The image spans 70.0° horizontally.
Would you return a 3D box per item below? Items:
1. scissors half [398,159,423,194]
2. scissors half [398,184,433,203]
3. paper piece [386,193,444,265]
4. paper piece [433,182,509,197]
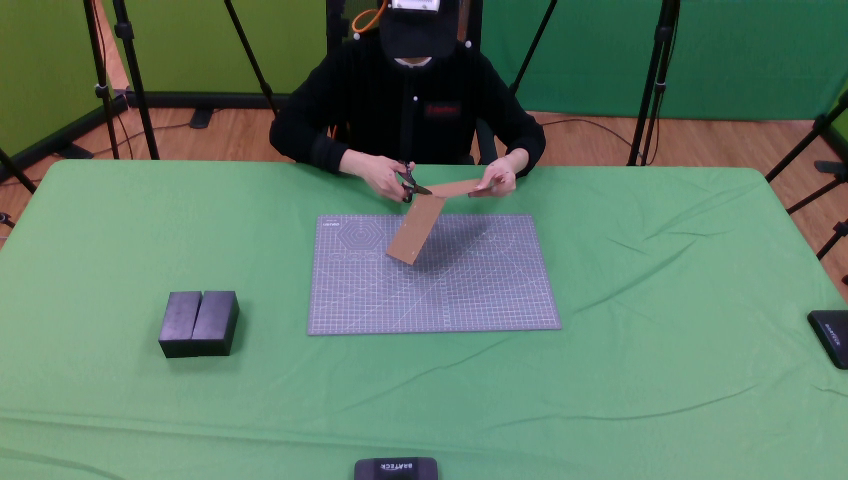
[{"bbox_3d":[-0.016,-0.115,1.193,0.013,0.040,0.174,-9,38,-22],"label":"scissors half"},{"bbox_3d":[-0.016,-0.093,1.202,0.013,0.040,0.174,-13,8,-20],"label":"scissors half"},{"bbox_3d":[-0.019,-0.025,1.123,0.009,0.135,0.138,28,87,-21],"label":"paper piece"},{"bbox_3d":[0.075,-0.096,1.152,0.136,0.004,0.135,-15,8,-20],"label":"paper piece"}]
